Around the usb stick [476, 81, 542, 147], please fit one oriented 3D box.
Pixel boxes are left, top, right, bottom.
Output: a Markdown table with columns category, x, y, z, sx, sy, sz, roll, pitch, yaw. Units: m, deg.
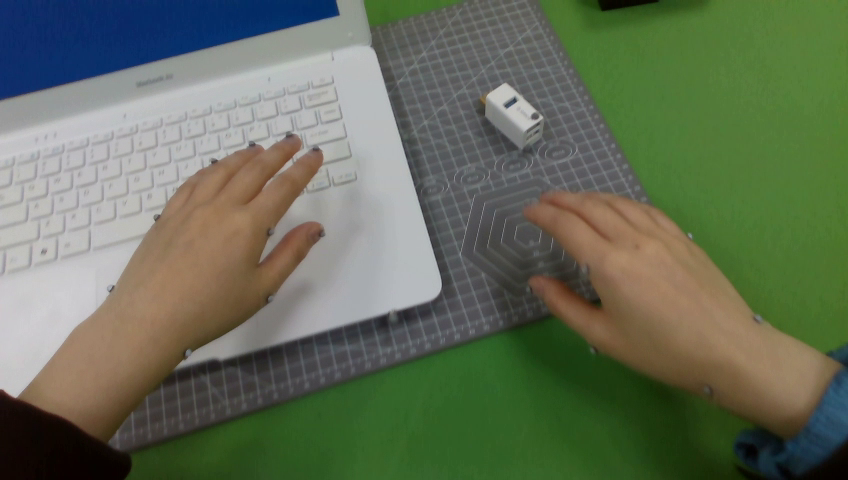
| category | x | y | z | sx | sy | sz | roll | pitch | yaw |
| --- | --- | --- | --- | --- | --- | --- | --- | --- | --- |
| usb stick | 0.062 | -0.100 | 0.460 | 0.021 | 0.027 | 0.058 | -36 | 62 | -12 |

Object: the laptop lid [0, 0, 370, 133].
| category | x | y | z | sx | sy | sz | roll | pitch | yaw |
| --- | --- | --- | --- | --- | --- | --- | --- | --- | --- |
| laptop lid | -0.235 | -0.209 | 0.430 | 0.357 | 0.244 | 0.013 | -16 | 36 | -2 |

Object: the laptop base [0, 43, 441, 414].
| category | x | y | z | sx | sy | sz | roll | pitch | yaw |
| --- | --- | --- | --- | --- | --- | --- | --- | --- | --- |
| laptop base | -0.184 | -0.017 | 0.445 | 0.354 | 0.023 | 0.233 | -15 | 65 | -3 |
